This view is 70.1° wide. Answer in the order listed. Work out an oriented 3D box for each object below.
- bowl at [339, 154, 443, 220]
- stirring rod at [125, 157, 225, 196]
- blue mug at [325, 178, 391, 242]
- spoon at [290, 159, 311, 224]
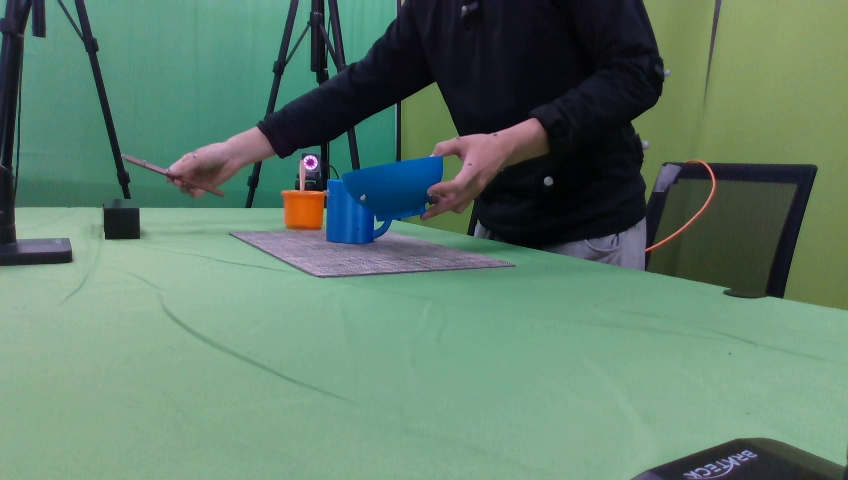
[{"bbox_3d":[-0.041,-0.073,0.874,0.151,0.077,0.151,-10,5,1],"label":"bowl"},{"bbox_3d":[-0.448,-0.114,1.095,0.177,0.006,0.014,21,26,-19],"label":"stirring rod"},{"bbox_3d":[-0.111,-0.052,1.034,0.116,0.106,0.082,3,7,7],"label":"blue mug"},{"bbox_3d":[-0.256,-0.104,1.266,0.042,0.193,0.021,0,-37,-9],"label":"spoon"}]
